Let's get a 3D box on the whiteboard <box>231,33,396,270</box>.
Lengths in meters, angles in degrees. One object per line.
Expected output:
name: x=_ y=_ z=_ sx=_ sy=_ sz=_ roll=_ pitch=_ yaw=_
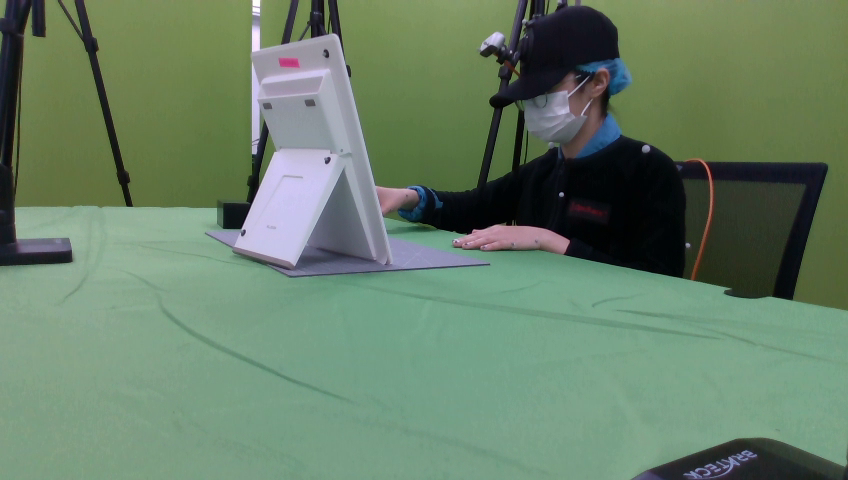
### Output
whiteboard: x=-0.193 y=-0.094 z=0.805 sx=0.144 sy=0.305 sz=0.216 roll=-29 pitch=25 yaw=-35

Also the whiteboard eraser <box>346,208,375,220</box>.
whiteboard eraser: x=-0.125 y=-0.052 z=1.198 sx=0.041 sy=0.019 sz=0.101 roll=12 pitch=2 yaw=9
